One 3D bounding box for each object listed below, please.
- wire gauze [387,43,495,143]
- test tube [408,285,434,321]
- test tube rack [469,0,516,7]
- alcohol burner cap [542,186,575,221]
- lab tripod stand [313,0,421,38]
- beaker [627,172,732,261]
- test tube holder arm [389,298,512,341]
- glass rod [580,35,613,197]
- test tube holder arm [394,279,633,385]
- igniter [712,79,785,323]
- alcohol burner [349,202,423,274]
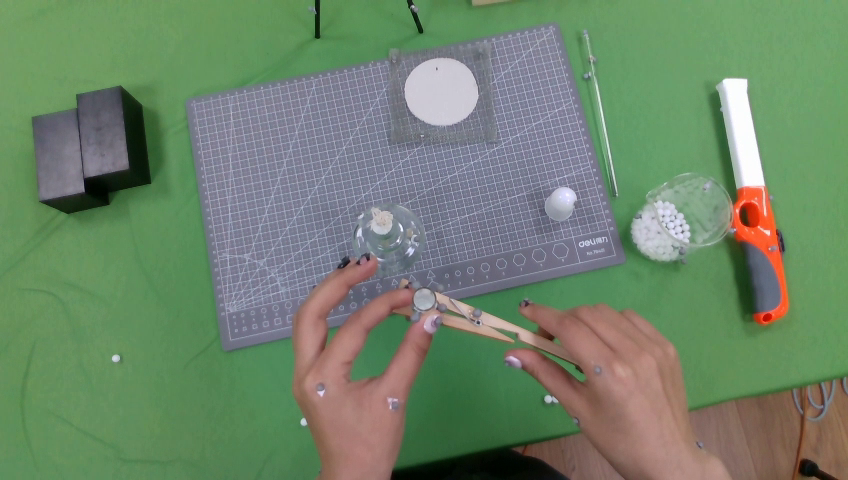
[{"bbox_3d":[0.019,-0.171,0.708,0.125,0.011,0.121,-1,79,0],"label":"wire gauze"},{"bbox_3d":[-0.001,0.048,0.439,0.017,0.150,0.017,0,80,1],"label":"test tube"},{"bbox_3d":[0.170,-0.342,0.703,0.242,0.085,0.066,-9,78,-1],"label":"test tube rack"},{"bbox_3d":[0.149,-0.043,0.661,0.034,0.048,0.033,0,78,1],"label":"alcohol burner cap"},{"bbox_3d":[-0.071,-0.295,0.673,0.148,0.132,0.148,0,80,1],"label":"lab tripod stand"},{"bbox_3d":[0.256,-0.020,0.629,0.084,0.101,0.074,19,78,6],"label":"beaker"},{"bbox_3d":[0.019,0.055,0.418,0.088,0.015,0.010,14,85,-4],"label":"test tube holder arm"},{"bbox_3d":[0.200,-0.145,0.701,0.008,0.008,0.199,-7,81,-1],"label":"glass rod"},{"bbox_3d":[0.063,0.064,0.421,0.178,0.015,0.013,21,85,-3],"label":"test tube holder arm"},{"bbox_3d":[0.357,-0.047,0.669,0.057,0.025,0.275,-2,78,-10],"label":"igniter"},{"bbox_3d":[-0.041,-0.006,0.621,0.078,0.119,0.077,-1,77,3],"label":"alcohol burner"}]
